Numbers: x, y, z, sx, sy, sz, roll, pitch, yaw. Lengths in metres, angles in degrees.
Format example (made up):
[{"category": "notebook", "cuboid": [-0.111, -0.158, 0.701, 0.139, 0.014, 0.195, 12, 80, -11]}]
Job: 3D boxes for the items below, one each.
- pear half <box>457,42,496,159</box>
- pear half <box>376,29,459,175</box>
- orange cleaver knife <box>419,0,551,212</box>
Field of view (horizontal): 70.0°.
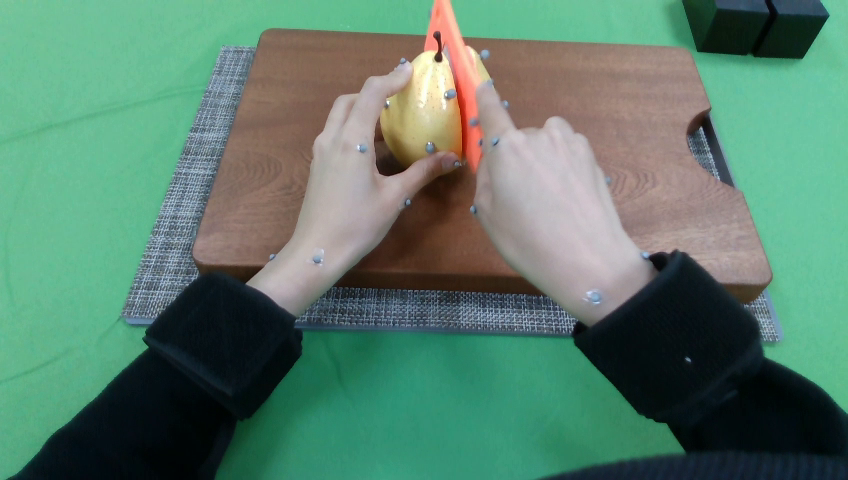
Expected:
[{"category": "pear half", "cuboid": [0.036, -0.103, 0.449, 0.031, 0.088, 0.069, -10, 48, -25]}, {"category": "pear half", "cuboid": [-0.006, -0.099, 0.429, 0.056, 0.111, 0.075, -14, 49, -15]}, {"category": "orange cleaver knife", "cuboid": [0.032, -0.085, 0.415, 0.012, 0.078, 0.209, -11, 53, -16]}]
